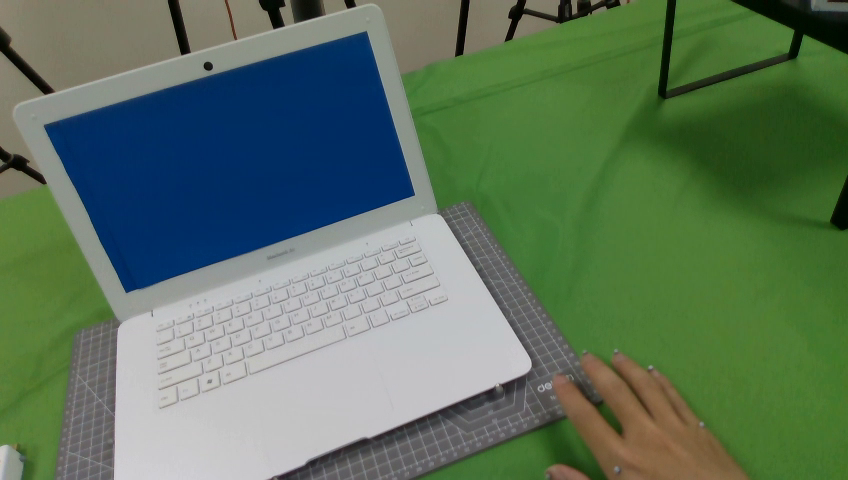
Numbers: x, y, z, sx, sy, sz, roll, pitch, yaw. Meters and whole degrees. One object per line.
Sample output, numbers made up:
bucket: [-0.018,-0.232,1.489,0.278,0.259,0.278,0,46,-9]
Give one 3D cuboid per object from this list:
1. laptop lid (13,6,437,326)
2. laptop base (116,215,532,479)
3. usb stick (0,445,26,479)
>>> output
laptop lid: [-0.177,-0.071,0.610,0.357,0.243,0.013,-21,21,-9]
laptop base: [-0.106,0.103,0.568,0.355,0.023,0.232,-20,45,-9]
usb stick: [-0.357,0.197,0.514,0.021,0.027,0.058,-22,40,-5]
